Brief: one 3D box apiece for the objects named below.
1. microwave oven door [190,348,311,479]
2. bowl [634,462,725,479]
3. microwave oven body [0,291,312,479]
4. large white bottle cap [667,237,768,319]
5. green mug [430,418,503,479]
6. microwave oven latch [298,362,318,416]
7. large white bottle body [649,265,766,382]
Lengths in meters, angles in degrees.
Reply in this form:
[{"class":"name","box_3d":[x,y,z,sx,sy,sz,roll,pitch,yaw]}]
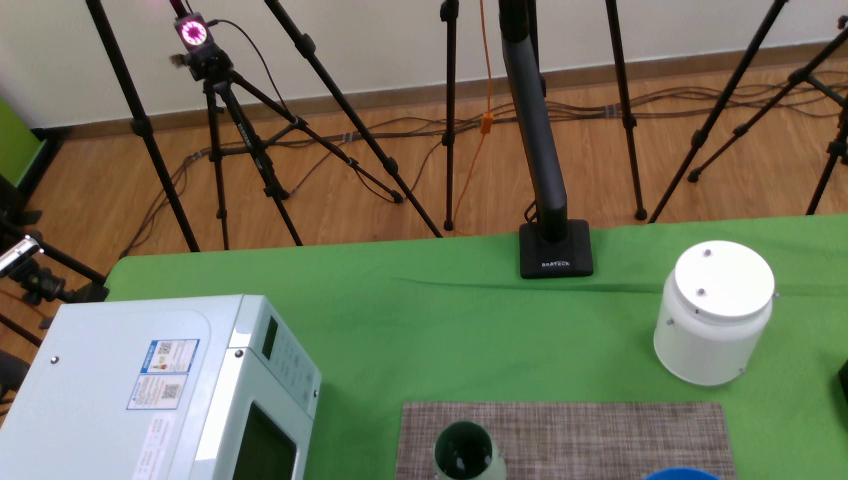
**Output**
[{"class":"microwave oven door","box_3d":[-0.216,0.340,0.715,0.039,0.246,0.352,-5,52,11]},{"class":"bowl","box_3d":[0.304,0.348,0.709,0.151,0.077,0.150,-7,51,9]},{"class":"microwave oven body","box_3d":[-0.356,0.320,0.770,0.325,0.263,0.437,-4,53,10]},{"class":"large white bottle cap","box_3d":[0.365,0.045,0.755,0.115,0.018,0.113,-6,52,8]},{"class":"green mug","box_3d":[0.056,0.304,0.785,0.092,0.106,0.124,-10,52,5]},{"class":"microwave oven latch","box_3d":[-0.182,0.228,0.925,0.030,0.030,0.078,-3,53,10]},{"class":"large white bottle body","box_3d":[0.381,0.097,0.821,0.130,0.186,0.129,-7,52,9]}]
